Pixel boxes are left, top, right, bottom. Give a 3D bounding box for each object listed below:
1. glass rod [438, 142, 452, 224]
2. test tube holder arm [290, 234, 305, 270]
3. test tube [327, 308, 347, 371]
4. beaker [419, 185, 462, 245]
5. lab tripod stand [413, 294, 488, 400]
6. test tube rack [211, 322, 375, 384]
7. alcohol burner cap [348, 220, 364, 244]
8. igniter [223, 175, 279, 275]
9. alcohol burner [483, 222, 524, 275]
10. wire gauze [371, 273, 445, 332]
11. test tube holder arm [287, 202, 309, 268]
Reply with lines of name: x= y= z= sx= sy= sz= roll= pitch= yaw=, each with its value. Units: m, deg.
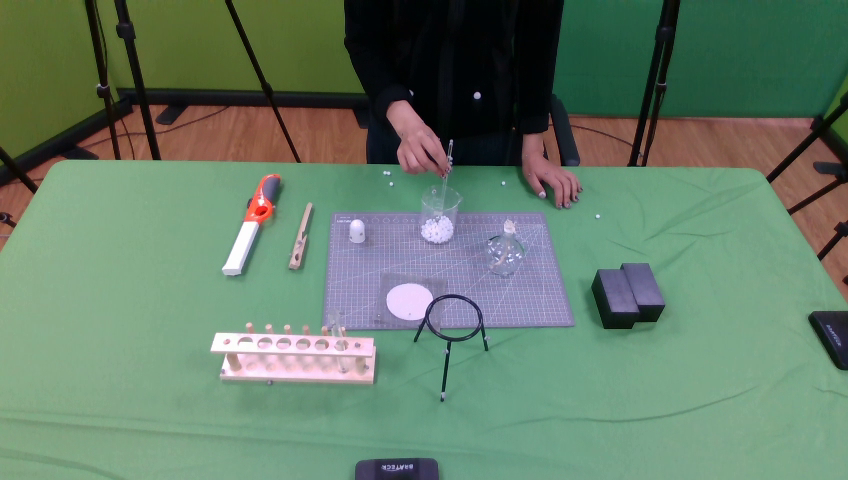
glass rod: x=0.040 y=-0.104 z=1.169 sx=0.008 sy=0.200 sz=0.008 roll=4 pitch=43 yaw=-3
test tube holder arm: x=-0.243 y=0.021 z=1.164 sx=0.010 sy=0.015 sz=0.087 roll=29 pitch=39 yaw=-26
test tube: x=-0.132 y=0.155 z=0.926 sx=0.017 sy=0.151 sz=0.017 roll=0 pitch=45 yaw=0
beaker: x=0.029 y=-0.047 z=1.191 sx=0.084 sy=0.101 sz=0.073 roll=-5 pitch=47 yaw=-10
lab tripod stand: x=0.045 y=0.159 z=0.972 sx=0.148 sy=0.132 sz=0.147 roll=2 pitch=44 yaw=-2
test tube rack: x=-0.202 y=0.176 z=0.969 sx=0.242 sy=0.085 sz=0.066 roll=3 pitch=46 yaw=-2
alcohol burner cap: x=-0.134 y=-0.019 z=1.190 sx=0.034 sy=0.048 sz=0.033 roll=2 pitch=46 yaw=-2
igniter: x=-0.341 y=-0.039 z=1.206 sx=0.057 sy=0.025 sz=0.275 roll=-1 pitch=45 yaw=8
alcohol burner: x=0.152 y=0.010 z=1.136 sx=0.078 sy=0.119 sz=0.077 roll=4 pitch=46 yaw=-4
wire gauze: x=-0.028 y=0.109 z=1.100 sx=0.125 sy=0.011 sz=0.121 roll=7 pitch=45 yaw=4
test tube holder arm: x=-0.246 y=-0.013 z=1.193 sx=0.013 sy=0.015 sz=0.177 roll=29 pitch=39 yaw=-26
